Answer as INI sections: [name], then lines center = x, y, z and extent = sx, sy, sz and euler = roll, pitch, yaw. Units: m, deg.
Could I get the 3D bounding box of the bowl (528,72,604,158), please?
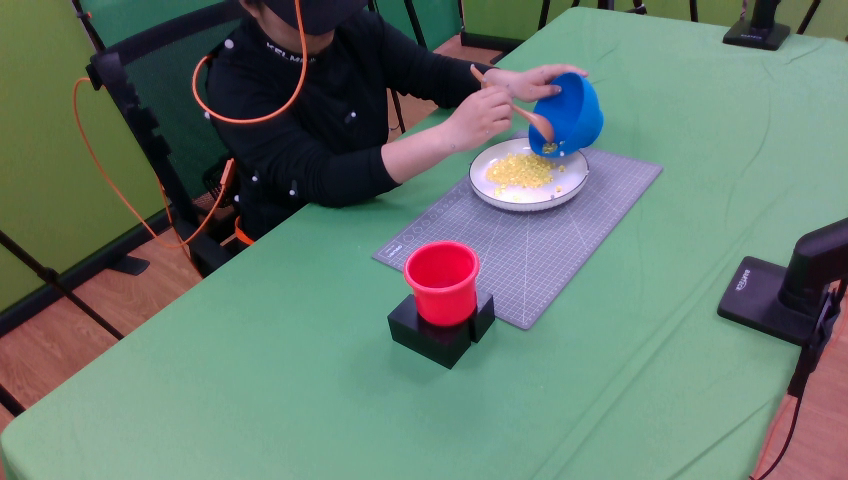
[bowl]
center = 0.258, -0.207, 1.055
extent = 0.077, 0.151, 0.150
euler = 16, 33, -25

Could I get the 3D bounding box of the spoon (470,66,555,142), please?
[spoon]
center = 0.150, -0.226, 1.010
extent = 0.195, 0.021, 0.041
euler = 32, 52, -17

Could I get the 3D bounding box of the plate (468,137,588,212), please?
[plate]
center = 0.182, -0.111, 1.064
extent = 0.207, 0.039, 0.206
euler = -5, 40, 5
